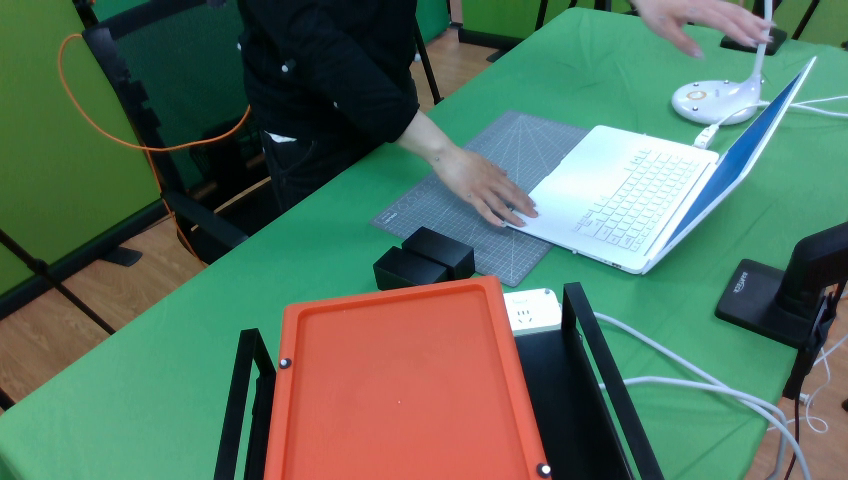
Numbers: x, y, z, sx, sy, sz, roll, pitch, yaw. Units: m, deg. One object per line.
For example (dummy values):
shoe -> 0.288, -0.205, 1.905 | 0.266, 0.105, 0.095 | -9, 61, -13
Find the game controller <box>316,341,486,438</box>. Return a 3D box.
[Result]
game controller -> -0.021, 0.120, 0.534 | 0.155, 0.052, 0.096 | -4, 36, 0

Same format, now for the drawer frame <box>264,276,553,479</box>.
drawer frame -> -0.016, 0.137, 0.490 | 0.202, 0.083, 0.212 | -8, 41, -1

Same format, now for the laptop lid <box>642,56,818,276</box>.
laptop lid -> 0.445, -0.108, 0.876 | 0.013, 0.241, 0.357 | 39, 53, 12

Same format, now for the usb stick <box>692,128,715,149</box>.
usb stick -> 0.501, -0.176, 1.091 | 0.021, 0.027, 0.059 | 30, 56, 28

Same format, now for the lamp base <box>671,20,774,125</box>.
lamp base -> 0.581, -0.332, 1.154 | 0.179, 0.181, 0.160 | 2, 41, 7

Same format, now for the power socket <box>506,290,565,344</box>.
power socket -> 0.081, 0.112, 0.822 | 0.227, 0.033, 0.072 | -7, 40, 0

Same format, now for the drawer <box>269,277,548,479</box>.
drawer -> -0.018, 0.137, 0.493 | 0.195, 0.073, 0.210 | -7, 41, -1

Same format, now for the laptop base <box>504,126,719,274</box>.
laptop base -> 0.325, -0.084, 1.028 | 0.233, 0.023, 0.355 | 21, 48, 32

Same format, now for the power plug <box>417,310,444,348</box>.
power plug -> 0.007, 0.123, 0.784 | 0.035, 0.053, 0.072 | -1, 42, 8
